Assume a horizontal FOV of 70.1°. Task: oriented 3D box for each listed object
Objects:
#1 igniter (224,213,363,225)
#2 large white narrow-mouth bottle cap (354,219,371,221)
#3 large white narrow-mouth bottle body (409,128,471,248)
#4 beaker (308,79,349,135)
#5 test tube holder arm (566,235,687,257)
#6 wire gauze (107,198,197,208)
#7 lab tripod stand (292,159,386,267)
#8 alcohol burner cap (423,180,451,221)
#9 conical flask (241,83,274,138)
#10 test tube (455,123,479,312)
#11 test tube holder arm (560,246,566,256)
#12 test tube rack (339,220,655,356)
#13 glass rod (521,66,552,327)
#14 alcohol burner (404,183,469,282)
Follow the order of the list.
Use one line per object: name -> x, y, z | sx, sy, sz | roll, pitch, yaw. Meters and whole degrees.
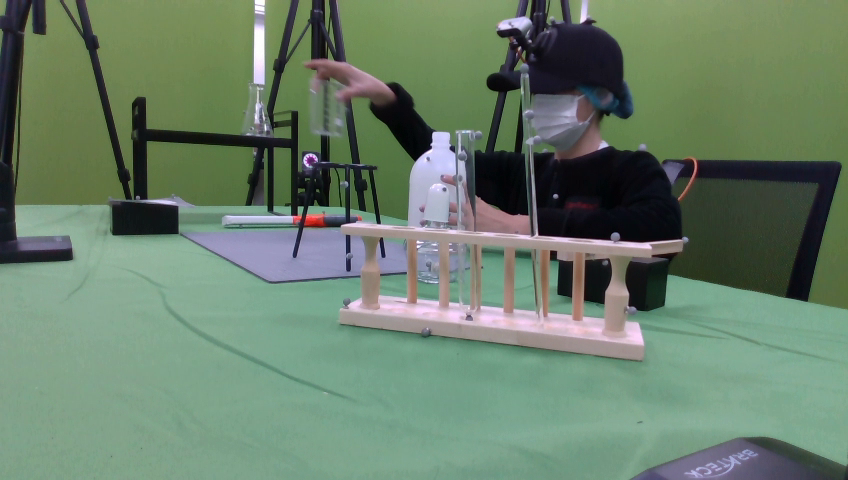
igniter -> -0.255, -0.041, 1.210 | 0.278, 0.025, 0.057 | -2, -2, -31
large white narrow-mouth bottle cap -> -0.120, -0.029, 1.184 | 0.038, 0.024, 0.037 | 2, 8, 0
large white narrow-mouth bottle body -> 0.027, -0.089, 1.008 | 0.102, 0.194, 0.102 | 2, 8, 0
beaker -> -0.183, -0.256, 1.171 | 0.083, 0.100, 0.074 | 10, 12, 24
test tube holder arm -> 0.215, 0.006, 0.630 | 0.179, 0.015, 0.013 | -3, 9, -30
wire gauze -> -0.462, -0.064, 1.023 | 0.126, 0.011, 0.121 | -2, 7, -32
lab tripod stand -> -0.105, -0.039, 0.798 | 0.148, 0.131, 0.148 | 2, 5, 0
alcohol burner cap -> 0.017, -0.047, 0.711 | 0.034, 0.048, 0.034 | 8, 5, 0
conical flask -> -0.384, -0.297, 1.393 | 0.075, 0.122, 0.075 | 2, 7, 0
test tube -> 0.034, -0.016, 0.476 | 0.017, 0.150, 0.017 | -2, 10, 1
test tube holder arm -> 0.173, 0.007, 0.611 | 0.088, 0.015, 0.010 | -3, 9, -30
test tube rack -> 0.056, 0.032, 0.495 | 0.242, 0.085, 0.067 | 4, 7, 15
glass rod -> 0.085, -0.028, 0.454 | 0.008, 0.199, 0.008 | -7, 10, 2
alcohol burner -> 0.015, -0.011, 0.715 | 0.078, 0.119, 0.078 | 0, 7, 0
